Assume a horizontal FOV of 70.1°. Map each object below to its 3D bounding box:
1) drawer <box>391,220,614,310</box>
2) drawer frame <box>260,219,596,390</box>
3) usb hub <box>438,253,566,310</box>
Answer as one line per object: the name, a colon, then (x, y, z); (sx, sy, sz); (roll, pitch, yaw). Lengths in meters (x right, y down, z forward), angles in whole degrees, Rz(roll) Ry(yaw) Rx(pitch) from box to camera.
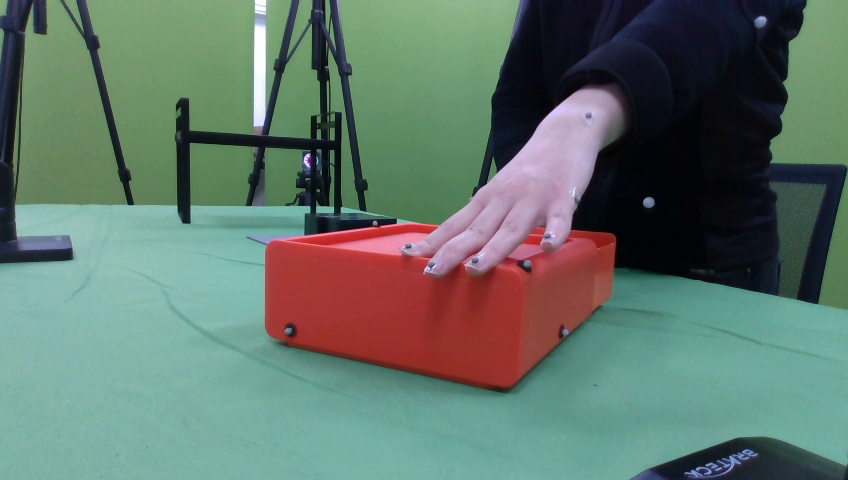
drawer: (0.058, 0.028, 0.574); (0.193, 0.073, 0.213); (7, 8, 28)
drawer frame: (0.016, 0.036, 0.494); (0.201, 0.082, 0.214); (6, 9, 26)
usb hub: (0.076, 0.040, 0.612); (0.124, 0.025, 0.050); (16, 14, 39)
